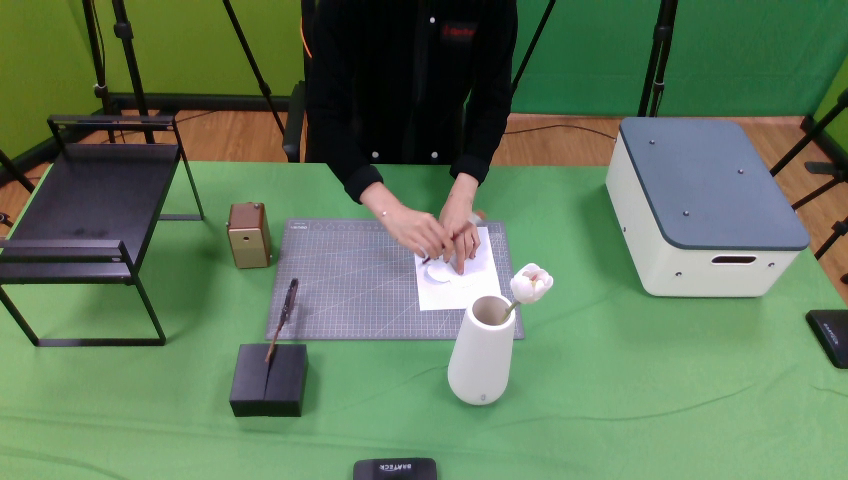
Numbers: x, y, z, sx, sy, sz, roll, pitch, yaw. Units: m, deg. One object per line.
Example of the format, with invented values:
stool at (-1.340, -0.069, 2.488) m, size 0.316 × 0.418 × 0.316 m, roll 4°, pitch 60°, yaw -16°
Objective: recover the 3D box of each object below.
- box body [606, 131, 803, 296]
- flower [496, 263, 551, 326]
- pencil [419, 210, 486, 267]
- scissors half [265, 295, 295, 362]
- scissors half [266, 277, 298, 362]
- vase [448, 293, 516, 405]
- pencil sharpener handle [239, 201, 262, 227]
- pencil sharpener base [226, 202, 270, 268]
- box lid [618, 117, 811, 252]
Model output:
box body at (0.530, -0.067, 1.204) m, size 0.254 × 0.161 × 0.361 m, roll 0°, pitch 46°, yaw -4°
flower at (0.102, 0.120, 0.853) m, size 0.044 × 0.363 × 0.038 m, roll -2°, pitch 64°, yaw -10°
pencil at (0.043, 0.002, 1.041) m, size 0.012 × 0.194 × 0.012 m, roll 20°, pitch 50°, yaw -26°
scissors half at (-0.240, 0.143, 1.005) m, size 0.013 × 0.040 × 0.174 m, roll 17°, pitch 27°, yaw -7°
scissors half at (-0.234, 0.127, 0.993) m, size 0.013 × 0.040 × 0.174 m, roll 13°, pitch 46°, yaw -4°
vase at (0.091, 0.169, 0.921) m, size 0.098 × 0.201 × 0.097 m, roll 3°, pitch 47°, yaw -3°
pencil sharpener handle at (-0.325, -0.055, 1.150) m, size 0.036 × 0.068 × 0.030 m, roll -13°, pitch 46°, yaw 3°
pencil sharpener base at (-0.323, -0.010, 1.123) m, size 0.061 × 0.107 × 0.076 m, roll -3°, pitch 46°, yaw -7°
box lid at (0.534, -0.117, 1.149) m, size 0.263 × 0.015 × 0.369 m, roll 0°, pitch 47°, yaw -3°
